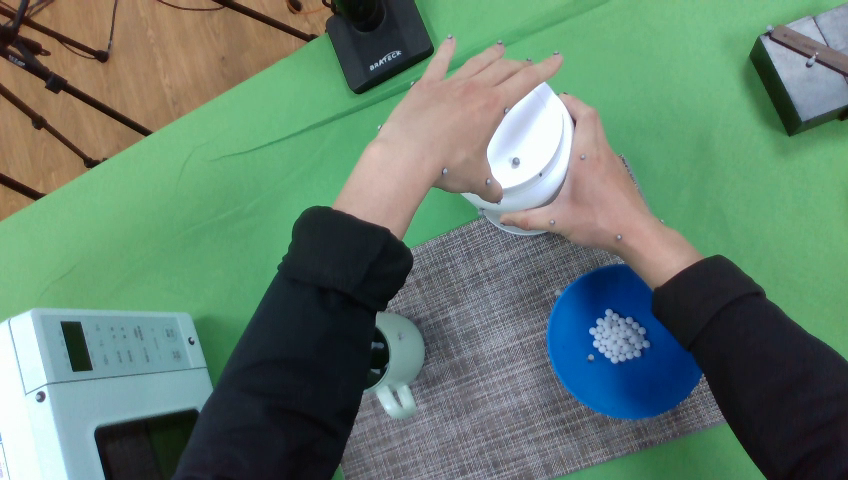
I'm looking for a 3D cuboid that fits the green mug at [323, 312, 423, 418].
[{"bbox_3d":[-0.048,0.141,0.685,0.092,0.105,0.124,-33,75,11],"label":"green mug"}]

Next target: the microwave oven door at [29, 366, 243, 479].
[{"bbox_3d":[-0.267,0.316,0.647,0.039,0.245,0.354,-26,77,13],"label":"microwave oven door"}]

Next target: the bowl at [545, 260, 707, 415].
[{"bbox_3d":[0.205,0.098,0.624,0.151,0.077,0.151,-2,83,18],"label":"bowl"}]

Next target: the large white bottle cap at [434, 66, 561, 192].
[{"bbox_3d":[0.065,-0.100,0.546,0.114,0.018,0.114,-4,79,18],"label":"large white bottle cap"}]

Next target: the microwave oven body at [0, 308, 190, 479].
[{"bbox_3d":[-0.409,0.340,0.694,0.326,0.261,0.439,-25,77,13],"label":"microwave oven body"}]

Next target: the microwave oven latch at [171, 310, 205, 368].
[{"bbox_3d":[-0.315,0.131,0.790,0.030,0.029,0.079,-26,78,12],"label":"microwave oven latch"}]

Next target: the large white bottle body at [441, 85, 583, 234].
[{"bbox_3d":[0.092,-0.085,0.625,0.130,0.186,0.130,-3,80,17],"label":"large white bottle body"}]

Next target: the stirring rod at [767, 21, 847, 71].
[{"bbox_3d":[0.410,-0.165,0.574,0.175,0.006,0.014,35,129,18],"label":"stirring rod"}]
